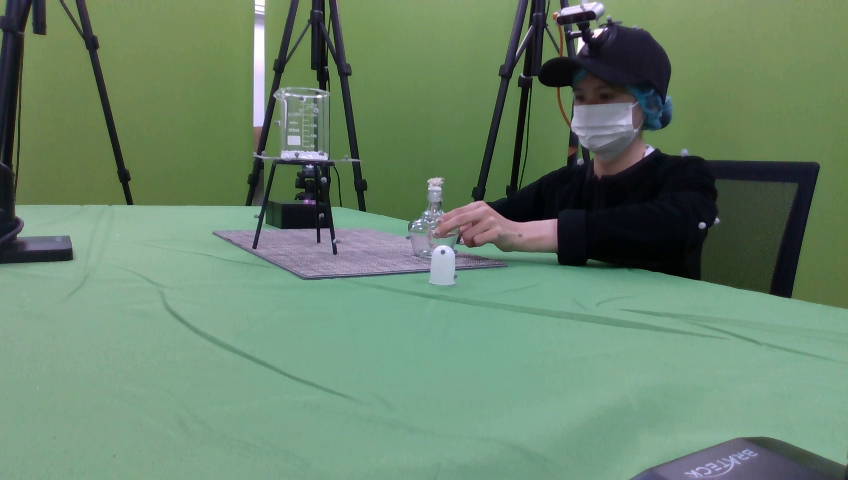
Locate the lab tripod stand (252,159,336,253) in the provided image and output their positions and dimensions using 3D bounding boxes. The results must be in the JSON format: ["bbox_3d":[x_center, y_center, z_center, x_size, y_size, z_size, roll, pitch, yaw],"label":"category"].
[{"bbox_3d":[-0.180,-0.053,0.900,0.148,0.131,0.148,1,6,0],"label":"lab tripod stand"}]

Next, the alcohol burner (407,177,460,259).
[{"bbox_3d":[0.015,-0.032,0.881,0.078,0.119,0.078,3,5,0],"label":"alcohol burner"}]

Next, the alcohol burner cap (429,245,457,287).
[{"bbox_3d":[0.024,0.030,0.705,0.034,0.048,0.034,2,7,0],"label":"alcohol burner cap"}]

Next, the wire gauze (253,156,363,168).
[{"bbox_3d":[-0.172,-0.117,0.891,0.122,0.011,0.124,0,3,-38],"label":"wire gauze"}]

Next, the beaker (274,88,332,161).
[{"bbox_3d":[-0.177,-0.165,0.879,0.084,0.100,0.074,2,5,1],"label":"beaker"}]
